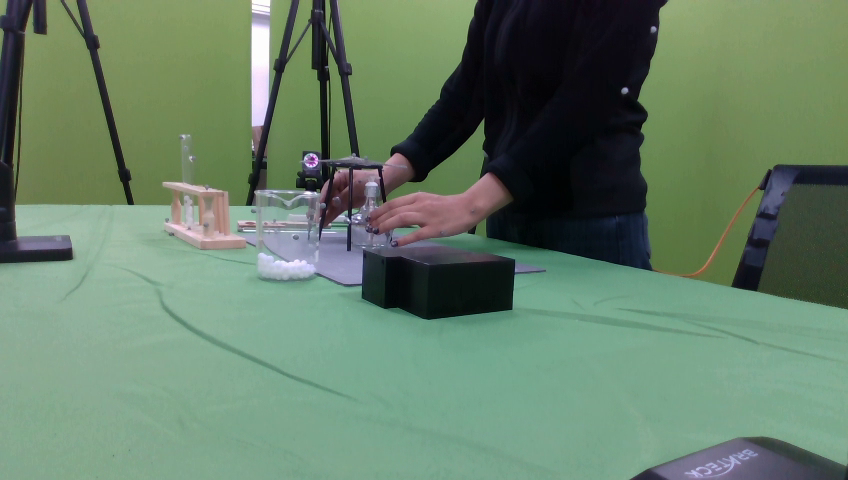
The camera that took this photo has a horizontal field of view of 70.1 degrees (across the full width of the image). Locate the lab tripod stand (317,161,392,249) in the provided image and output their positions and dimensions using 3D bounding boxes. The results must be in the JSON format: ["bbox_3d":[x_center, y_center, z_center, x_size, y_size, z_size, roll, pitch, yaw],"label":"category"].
[{"bbox_3d":[-0.111,-0.059,0.964,0.148,0.131,0.148,4,9,0],"label":"lab tripod stand"}]

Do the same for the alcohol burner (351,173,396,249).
[{"bbox_3d":[-0.082,-0.045,0.946,0.078,0.119,0.078,1,9,0],"label":"alcohol burner"}]

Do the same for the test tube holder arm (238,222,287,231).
[{"bbox_3d":[-0.297,-0.024,1.113,0.088,0.015,0.010,-2,42,-33],"label":"test tube holder arm"}]

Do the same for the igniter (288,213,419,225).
[{"bbox_3d":[-0.145,-0.044,1.278,0.278,0.025,0.057,-1,-2,-21],"label":"igniter"}]

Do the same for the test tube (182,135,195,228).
[{"bbox_3d":[-0.382,-0.095,0.983,0.017,0.150,0.017,-1,2,0],"label":"test tube"}]

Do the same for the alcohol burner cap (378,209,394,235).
[{"bbox_3d":[-0.072,-0.035,1.145,0.034,0.048,0.034,2,7,0],"label":"alcohol burner cap"}]

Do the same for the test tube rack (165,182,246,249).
[{"bbox_3d":[-0.360,-0.045,0.982,0.067,0.085,0.241,-3,9,-34],"label":"test tube rack"}]

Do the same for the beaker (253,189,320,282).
[{"bbox_3d":[-0.156,-0.005,0.689,0.074,0.100,0.083,0,8,-14],"label":"beaker"}]

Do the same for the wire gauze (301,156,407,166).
[{"bbox_3d":[-0.112,-0.127,0.966,0.121,0.011,0.126,10,12,38],"label":"wire gauze"}]

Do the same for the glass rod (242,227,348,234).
[{"bbox_3d":[-0.232,-0.017,1.110,0.201,0.008,0.008,2,6,-30],"label":"glass rod"}]

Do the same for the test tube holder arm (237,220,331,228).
[{"bbox_3d":[-0.261,-0.029,1.141,0.179,0.015,0.013,-2,42,-33],"label":"test tube holder arm"}]
